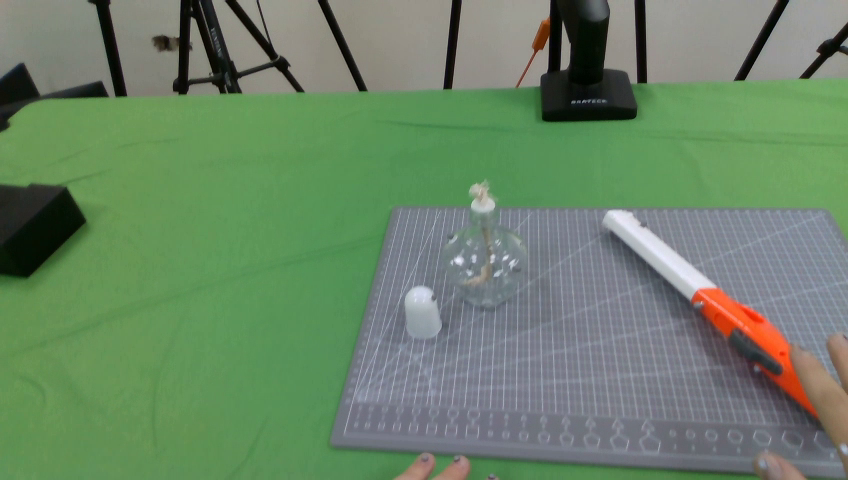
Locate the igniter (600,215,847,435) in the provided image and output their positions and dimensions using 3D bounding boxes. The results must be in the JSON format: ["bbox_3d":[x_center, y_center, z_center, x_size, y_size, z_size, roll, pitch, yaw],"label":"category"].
[{"bbox_3d":[0.244,0.056,0.512,0.057,0.025,0.273,0,33,-28],"label":"igniter"}]

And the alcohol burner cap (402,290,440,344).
[{"bbox_3d":[-0.004,0.064,0.527,0.034,0.048,0.033,-3,41,3],"label":"alcohol burner cap"}]

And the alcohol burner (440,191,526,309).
[{"bbox_3d":[0.052,0.005,0.534,0.078,0.120,0.077,-2,42,2],"label":"alcohol burner"}]
